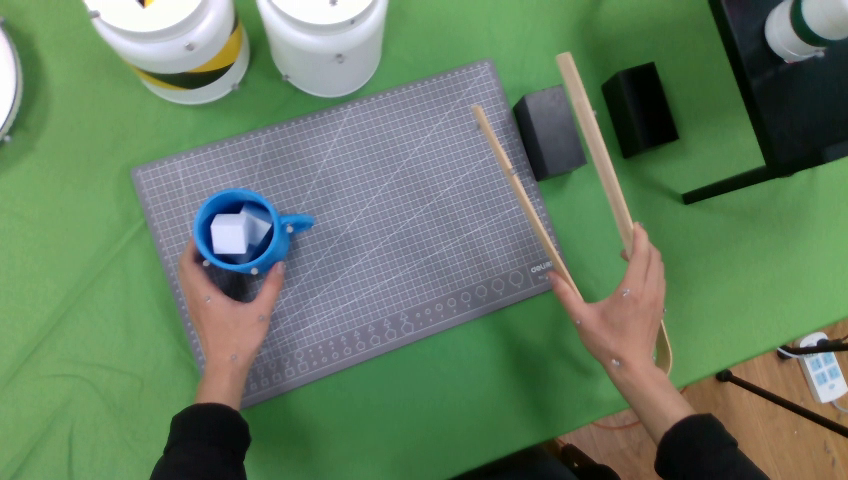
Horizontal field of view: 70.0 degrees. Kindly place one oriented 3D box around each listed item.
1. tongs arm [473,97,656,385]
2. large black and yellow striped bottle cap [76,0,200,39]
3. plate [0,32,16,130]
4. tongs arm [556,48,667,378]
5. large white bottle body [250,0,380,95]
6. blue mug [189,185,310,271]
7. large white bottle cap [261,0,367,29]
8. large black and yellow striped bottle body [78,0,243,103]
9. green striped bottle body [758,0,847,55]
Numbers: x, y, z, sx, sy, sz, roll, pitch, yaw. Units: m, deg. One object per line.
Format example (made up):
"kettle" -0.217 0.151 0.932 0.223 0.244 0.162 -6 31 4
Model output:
"tongs arm" 0.158 0.012 0.650 0.051 0.026 0.387 -32 109 -10
"large black and yellow striped bottle cap" -0.257 -0.239 0.542 0.115 0.019 0.115 1 86 -9
"plate" -0.549 -0.171 0.654 0.208 0.039 0.207 1 86 -8
"tongs arm" 0.208 -0.018 0.660 0.028 0.027 0.390 -27 108 -15
"large white bottle body" -0.114 -0.245 0.645 0.131 0.184 0.130 1 85 -7
"blue mug" -0.181 -0.013 0.657 0.117 0.106 0.082 -12 86 -9
"large white bottle cap" -0.103 -0.254 0.562 0.115 0.018 0.114 1 85 -8
"large black and yellow striped bottle body" -0.267 -0.229 0.624 0.131 0.184 0.130 1 85 -7
"green striped bottle body" 0.377 -0.224 0.563 0.063 0.119 0.063 1 85 -8
